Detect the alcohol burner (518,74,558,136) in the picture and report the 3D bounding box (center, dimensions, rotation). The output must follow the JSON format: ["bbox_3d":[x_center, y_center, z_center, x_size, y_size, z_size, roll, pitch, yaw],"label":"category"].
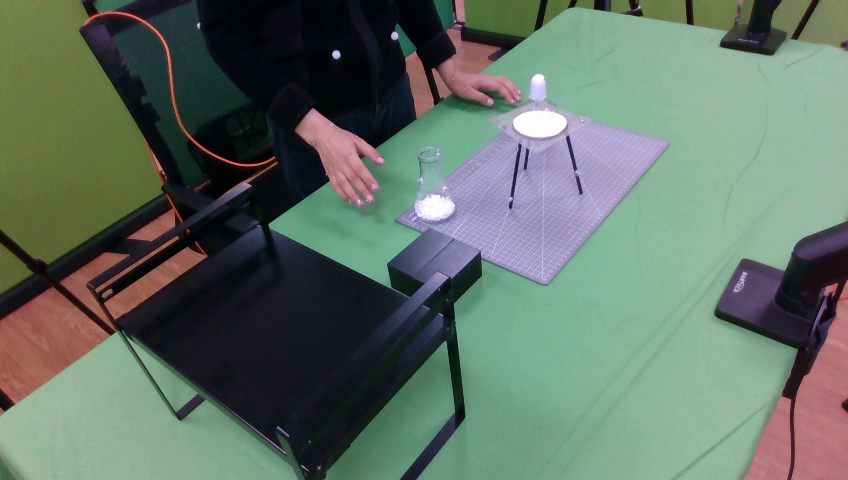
[{"bbox_3d":[0.222,-0.265,1.179,0.078,0.119,0.077,-5,39,5],"label":"alcohol burner"}]

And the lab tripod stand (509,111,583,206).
[{"bbox_3d":[0.197,-0.139,1.019,0.148,0.132,0.147,-3,39,3],"label":"lab tripod stand"}]

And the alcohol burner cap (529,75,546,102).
[{"bbox_3d":[0.218,-0.292,1.156,0.034,0.048,0.033,-4,46,4],"label":"alcohol burner cap"}]

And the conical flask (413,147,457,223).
[{"bbox_3d":[0.013,-0.094,1.003,0.075,0.122,0.075,-5,41,4],"label":"conical flask"}]

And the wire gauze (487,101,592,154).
[{"bbox_3d":[0.185,-0.187,0.973,0.122,0.011,0.124,-27,44,-23],"label":"wire gauze"}]
